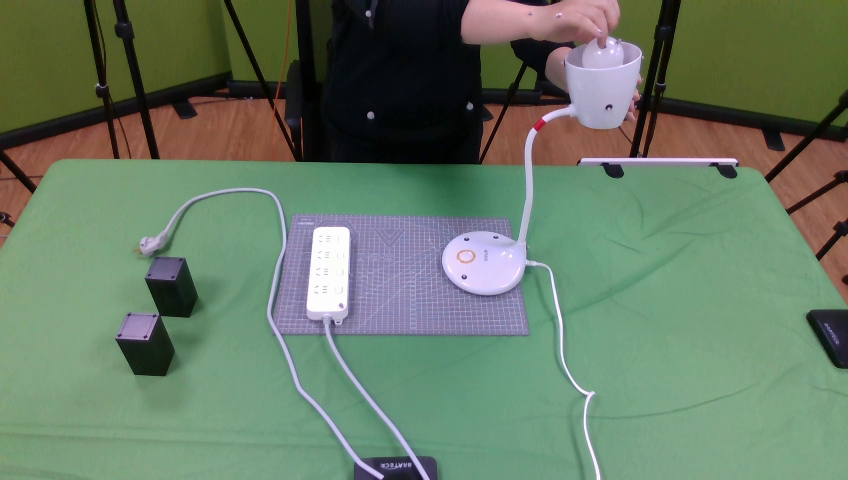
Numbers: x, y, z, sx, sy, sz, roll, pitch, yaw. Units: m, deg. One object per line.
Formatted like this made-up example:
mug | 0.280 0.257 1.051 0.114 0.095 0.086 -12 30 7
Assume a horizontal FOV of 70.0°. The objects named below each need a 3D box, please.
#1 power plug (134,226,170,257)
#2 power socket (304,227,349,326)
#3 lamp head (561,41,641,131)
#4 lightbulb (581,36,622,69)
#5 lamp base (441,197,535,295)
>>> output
power plug | -0.515 0.006 1.153 0.052 0.035 0.072 -6 24 6
power socket | -0.177 0.059 1.115 0.072 0.033 0.225 -1 46 -4
lamp head | 0.269 -0.231 0.935 0.112 0.123 0.112 -3 36 2
lightbulb | 0.268 -0.254 0.921 0.059 0.108 0.059 -6 32 4
lamp base | 0.130 -0.012 1.105 0.179 0.181 0.159 -1 46 -9
